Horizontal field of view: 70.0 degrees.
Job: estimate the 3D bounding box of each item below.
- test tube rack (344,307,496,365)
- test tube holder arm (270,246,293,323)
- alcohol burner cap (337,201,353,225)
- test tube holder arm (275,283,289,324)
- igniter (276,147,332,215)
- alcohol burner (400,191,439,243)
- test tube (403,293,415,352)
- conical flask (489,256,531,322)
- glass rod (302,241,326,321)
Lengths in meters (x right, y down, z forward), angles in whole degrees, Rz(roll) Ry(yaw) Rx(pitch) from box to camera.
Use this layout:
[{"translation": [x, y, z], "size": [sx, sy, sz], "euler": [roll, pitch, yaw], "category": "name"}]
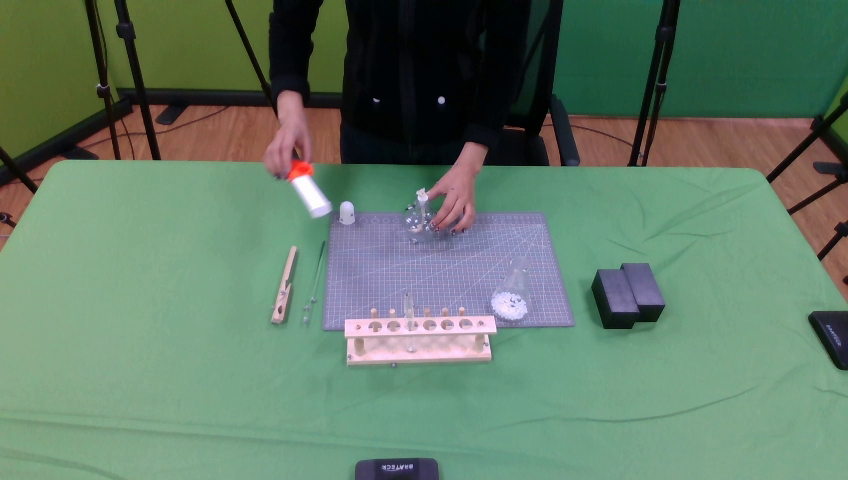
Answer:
[{"translation": [-0.009, 0.154, 1.007], "size": [0.242, 0.085, 0.066], "euler": [-1, 46, -5], "category": "test tube rack"}, {"translation": [-0.258, 0.076, 1.106], "size": [0.013, 0.015, 0.177], "euler": [27, 38, -26], "category": "test tube holder arm"}, {"translation": [-0.159, -0.057, 1.224], "size": [0.034, 0.048, 0.033], "euler": [2, 47, -2], "category": "alcohol burner cap"}, {"translation": [-0.253, 0.111, 1.077], "size": [0.010, 0.015, 0.087], "euler": [28, 38, -26], "category": "test tube holder arm"}, {"translation": [-0.222, -0.114, 1.094], "size": [0.057, 0.025, 0.274], "euler": [-20, 35, -17], "category": "igniter"}, {"translation": [-0.007, -0.052, 1.182], "size": [0.078, 0.119, 0.077], "euler": [3, 47, -3], "category": "alcohol burner"}, {"translation": [-0.024, 0.133, 0.957], "size": [0.017, 0.151, 0.017], "euler": [0, 49, 0], "category": "test tube"}, {"translation": [0.158, 0.081, 1.061], "size": [0.075, 0.122, 0.075], "euler": [2, 46, -2], "category": "conical flask"}, {"translation": [-0.203, 0.071, 1.124], "size": [0.008, 0.008, 0.198], "euler": [4, 44, 1], "category": "glass rod"}]
